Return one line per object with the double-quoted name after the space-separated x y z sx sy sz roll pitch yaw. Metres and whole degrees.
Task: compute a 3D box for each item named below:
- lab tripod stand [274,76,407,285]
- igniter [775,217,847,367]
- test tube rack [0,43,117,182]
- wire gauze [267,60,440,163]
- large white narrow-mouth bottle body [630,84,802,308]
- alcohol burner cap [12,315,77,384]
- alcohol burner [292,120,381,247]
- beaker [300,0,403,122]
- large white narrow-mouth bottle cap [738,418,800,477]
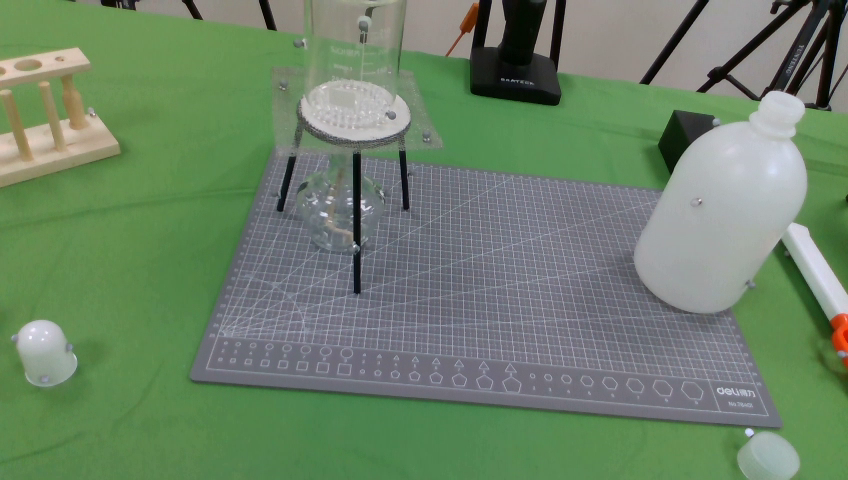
-0.064 -0.057 0.516 0.149 0.132 0.147 7 44 -6 "lab tripod stand"
0.380 0.075 0.546 0.057 0.025 0.274 15 42 -11 "igniter"
-0.413 -0.096 0.527 0.243 0.086 0.066 -26 54 -33 "test tube rack"
-0.059 -0.106 0.473 0.122 0.011 0.123 -5 49 -13 "wire gauze"
0.254 -0.038 0.514 0.102 0.196 0.101 5 43 -4 "large white narrow-mouth bottle body"
-0.259 0.072 0.411 0.034 0.048 0.033 7 43 -6 "alcohol burner cap"
-0.074 -0.052 0.524 0.078 0.120 0.077 7 42 -6 "alcohol burner"
-0.057 -0.144 0.441 0.084 0.101 0.073 1 45 -10 "beaker"
0.252 0.152 0.444 0.038 0.024 0.037 5 43 -5 "large white narrow-mouth bottle cap"
